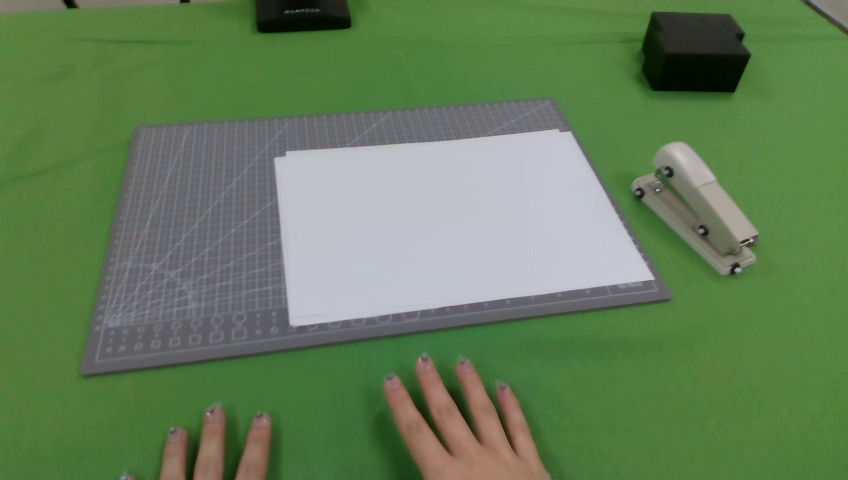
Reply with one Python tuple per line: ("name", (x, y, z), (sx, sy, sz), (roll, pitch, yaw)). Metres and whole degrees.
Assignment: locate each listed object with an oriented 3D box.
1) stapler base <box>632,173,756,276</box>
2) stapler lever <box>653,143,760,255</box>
("stapler base", (0.245, -0.024, 0.552), (0.041, 0.024, 0.129), (-19, 52, -18))
("stapler lever", (0.247, -0.040, 0.532), (0.027, 0.040, 0.116), (-19, 52, -18))
